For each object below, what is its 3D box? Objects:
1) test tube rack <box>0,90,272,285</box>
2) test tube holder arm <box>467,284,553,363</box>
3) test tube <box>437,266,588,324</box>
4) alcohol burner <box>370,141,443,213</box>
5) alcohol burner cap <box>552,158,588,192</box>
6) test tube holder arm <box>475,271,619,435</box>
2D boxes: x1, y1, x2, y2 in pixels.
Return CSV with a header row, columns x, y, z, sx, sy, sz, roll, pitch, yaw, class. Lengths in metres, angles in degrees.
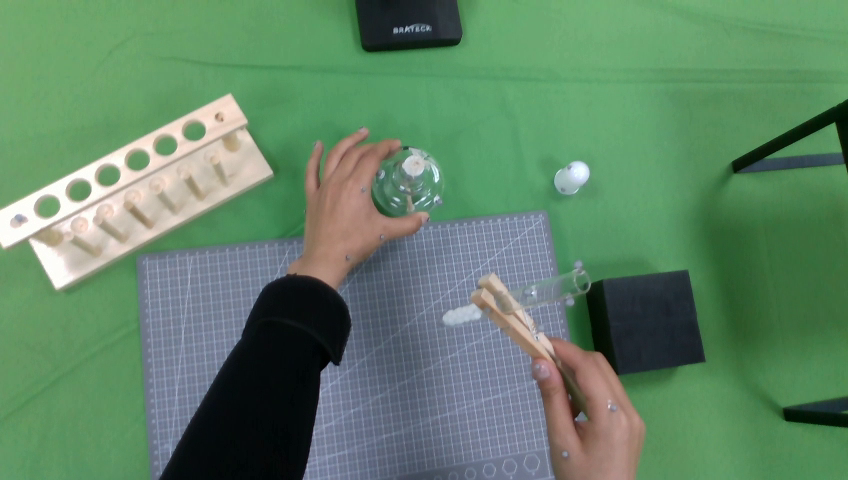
x,y,z,sx,sy,sz,roll,pitch,yaw,class
-0.280,-0.050,0.603,0.242,0.085,0.066,-31,84,-12,test tube rack
0.066,0.063,0.448,0.088,0.015,0.010,42,61,-21,test tube holder arm
0.056,0.043,0.436,0.017,0.150,0.017,12,68,-32,test tube
-0.016,-0.069,0.624,0.078,0.119,0.077,1,80,-7,alcohol burner
0.170,-0.076,0.698,0.034,0.048,0.033,1,78,-7,alcohol burner cap
0.098,0.090,0.465,0.179,0.015,0.013,48,59,-18,test tube holder arm
